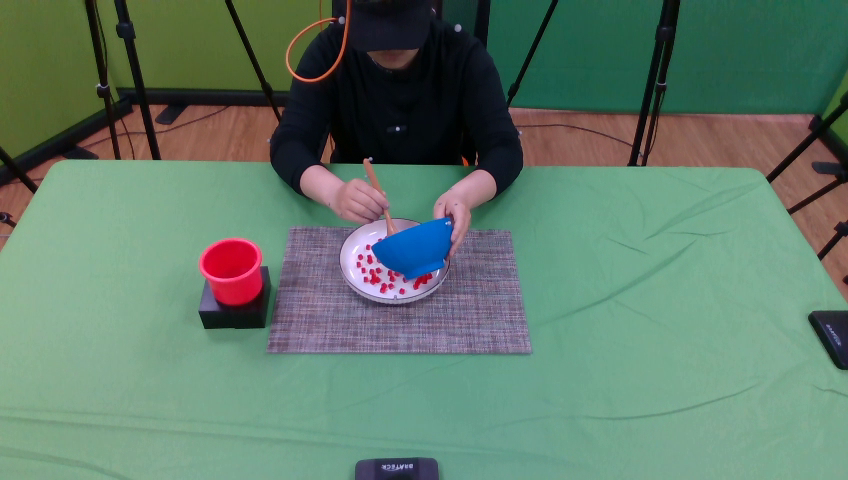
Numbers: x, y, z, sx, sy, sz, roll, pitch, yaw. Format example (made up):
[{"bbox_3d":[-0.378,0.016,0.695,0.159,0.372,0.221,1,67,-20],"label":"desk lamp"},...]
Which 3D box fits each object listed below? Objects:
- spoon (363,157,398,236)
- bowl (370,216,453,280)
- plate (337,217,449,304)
[{"bbox_3d":[-0.071,-0.054,1.072,0.041,0.194,0.021,-16,9,27],"label":"spoon"},{"bbox_3d":[-0.010,0.022,1.054,0.151,0.151,0.076,-18,84,-19],"label":"bowl"},{"bbox_3d":[-0.058,0.042,1.136,0.208,0.039,0.206,2,46,-2],"label":"plate"}]
